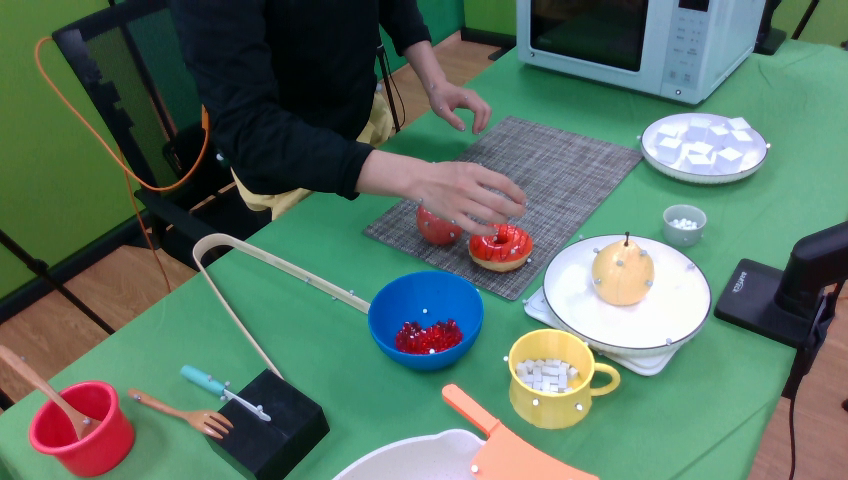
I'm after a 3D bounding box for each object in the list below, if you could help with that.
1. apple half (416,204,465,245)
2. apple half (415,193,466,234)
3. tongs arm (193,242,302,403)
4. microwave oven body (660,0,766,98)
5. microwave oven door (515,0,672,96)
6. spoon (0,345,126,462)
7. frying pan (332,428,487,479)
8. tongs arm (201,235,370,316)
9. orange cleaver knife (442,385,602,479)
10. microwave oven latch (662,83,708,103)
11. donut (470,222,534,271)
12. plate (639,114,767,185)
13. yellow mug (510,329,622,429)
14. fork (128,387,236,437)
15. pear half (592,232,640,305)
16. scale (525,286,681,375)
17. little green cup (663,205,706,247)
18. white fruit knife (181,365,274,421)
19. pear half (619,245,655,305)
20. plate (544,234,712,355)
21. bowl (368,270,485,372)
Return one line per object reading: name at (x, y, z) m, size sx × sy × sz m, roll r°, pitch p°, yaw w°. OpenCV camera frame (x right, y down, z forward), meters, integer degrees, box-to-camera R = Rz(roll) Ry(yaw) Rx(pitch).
apple half at (0.027, -0.017, 0.943) m, size 0.081 × 0.081 × 0.032 m, roll -4°, pitch 37°, yaw 4°
apple half at (0.028, -0.042, 0.974) m, size 0.081 × 0.075 × 0.053 m, roll -5°, pitch 37°, yaw 7°
tongs arm at (-0.268, 0.107, 0.883) m, size 0.028 × 0.028 × 0.384 m, roll -35°, pitch 46°, yaw -19°
microwave oven body at (0.472, -0.513, 1.317) m, size 0.438 × 0.261 × 0.327 m, roll 26°, pitch 51°, yaw 34°
microwave oven door at (0.343, -0.455, 1.259) m, size 0.353 × 0.245 × 0.039 m, roll 26°, pitch 51°, yaw 33°
spoon at (-0.434, 0.192, 0.720) m, size 0.194 × 0.021 × 0.042 m, roll 47°, pitch 53°, yaw -6°
frying pan at (-0.089, 0.306, 0.564) m, size 0.487 × 0.103 × 0.306 m, roll 10°, pitch 41°, yaw 7°
tongs arm at (-0.209, 0.062, 0.924) m, size 0.381 × 0.026 × 0.051 m, roll 24°, pitch 52°, yaw 33°
orange cleaver knife at (0.086, 0.219, 0.612) m, size 0.209 × 0.012 × 0.077 m, roll 28°, pitch 49°, yaw 35°
microwave oven latch at (0.517, -0.296, 1.204) m, size 0.078 × 0.029 × 0.030 m, roll 27°, pitch 52°, yaw 35°
donut at (0.118, 0.009, 0.923) m, size 0.099 × 0.048 × 0.098 m, roll -4°, pitch 38°, yaw 4°
plate at (0.489, -0.157, 1.074) m, size 0.207 × 0.039 × 0.206 m, roll -4°, pitch 40°, yaw 4°
yellow mug at (0.168, 0.164, 0.721) m, size 0.130 × 0.064 × 0.099 m, roll 0°, pitch 40°, yaw 8°
fork at (-0.305, 0.207, 0.744) m, size 0.206 × 0.019 × 0.028 m, roll 3°, pitch 40°, yaw 36°
pear half at (0.247, 0.027, 0.778) m, size 0.055 × 0.110 × 0.076 m, roll 21°, pitch 45°, yaw 30°
scale at (0.254, 0.091, 0.821) m, size 0.199 × 0.032 × 0.149 m, roll 27°, pitch 51°, yaw 35°
little green cup at (0.396, -0.020, 0.926) m, size 0.061 × 0.039 × 0.061 m, roll -4°, pitch 40°, yaw 4°
white fruit knife at (-0.246, 0.188, 0.747) m, size 0.205 × 0.027 × 0.016 m, roll 9°, pitch 41°, yaw 41°
pear half at (0.275, 0.047, 0.766) m, size 0.031 × 0.088 × 0.070 m, roll 20°, pitch 46°, yaw 30°
plate at (0.262, 0.072, 0.792) m, size 0.209 × 0.038 × 0.208 m, roll -4°, pitch 41°, yaw 4°
bowl at (0.007, 0.118, 0.791) m, size 0.151 × 0.077 × 0.150 m, roll -5°, pitch 40°, yaw 4°
